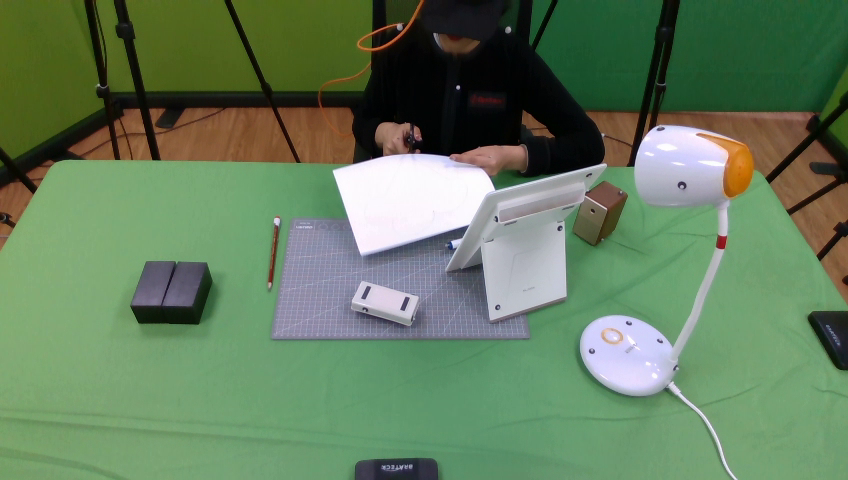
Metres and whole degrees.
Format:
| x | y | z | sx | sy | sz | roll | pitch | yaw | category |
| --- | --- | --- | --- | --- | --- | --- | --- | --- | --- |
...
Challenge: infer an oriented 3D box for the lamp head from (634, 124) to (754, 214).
| x | y | z | sx | sy | sz | roll | pitch | yaw | category |
| --- | --- | --- | --- | --- | --- | --- | --- | --- | --- |
| 0.351 | -0.089 | 0.775 | 0.112 | 0.113 | 0.122 | -30 | 30 | -28 | lamp head |

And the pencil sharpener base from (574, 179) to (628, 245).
| x | y | z | sx | sy | sz | roll | pitch | yaw | category |
| --- | --- | --- | --- | --- | --- | --- | --- | --- | --- |
| 0.355 | -0.057 | 1.217 | 0.076 | 0.107 | 0.061 | -33 | 56 | -31 | pencil sharpener base |

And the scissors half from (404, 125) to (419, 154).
| x | y | z | sx | sy | sz | roll | pitch | yaw | category |
| --- | --- | --- | --- | --- | --- | --- | --- | --- | --- |
| -0.030 | -0.216 | 1.320 | 0.013 | 0.040 | 0.174 | 1 | 27 | 8 | scissors half |

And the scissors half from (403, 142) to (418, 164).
| x | y | z | sx | sy | sz | roll | pitch | yaw | category |
| --- | --- | --- | --- | --- | --- | --- | --- | --- | --- |
| -0.031 | -0.194 | 1.325 | 0.013 | 0.175 | 0.040 | 6 | 89 | 7 | scissors half |

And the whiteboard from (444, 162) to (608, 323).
| x | y | z | sx | sy | sz | roll | pitch | yaw | category |
| --- | --- | --- | --- | --- | --- | --- | --- | --- | --- |
| 0.186 | 0.025 | 1.029 | 0.217 | 0.306 | 0.143 | -14 | 68 | -18 | whiteboard |

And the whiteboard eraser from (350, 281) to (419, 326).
| x | y | z | sx | sy | sz | roll | pitch | yaw | category |
| --- | --- | --- | --- | --- | --- | --- | --- | --- | --- |
| -0.069 | 0.113 | 1.065 | 0.112 | 0.042 | 0.055 | 14 | 46 | 9 | whiteboard eraser |

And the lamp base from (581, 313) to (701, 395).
| x | y | z | sx | sy | sz | roll | pitch | yaw | category |
| --- | --- | --- | --- | --- | --- | --- | --- | --- | --- |
| 0.361 | 0.144 | 0.973 | 0.178 | 0.181 | 0.160 | 34 | 53 | 23 | lamp base |

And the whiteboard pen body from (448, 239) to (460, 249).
| x | y | z | sx | sy | sz | roll | pitch | yaw | category |
| --- | --- | --- | --- | --- | --- | --- | --- | --- | --- |
| 0.113 | -0.005 | 1.203 | 0.141 | 0.017 | 0.017 | -14 | 49 | -17 | whiteboard pen body |

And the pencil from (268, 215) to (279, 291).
| x | y | z | sx | sy | sz | roll | pitch | yaw | category |
| --- | --- | --- | --- | --- | --- | --- | --- | --- | --- |
| -0.290 | 0.022 | 1.164 | 0.012 | 0.012 | 0.192 | -2 | 48 | -6 | pencil |

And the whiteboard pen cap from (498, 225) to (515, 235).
| x | y | z | sx | sy | sz | roll | pitch | yaw | category |
| --- | --- | --- | --- | --- | --- | --- | --- | --- | --- |
| 0.166 | -0.019 | 1.223 | 0.033 | 0.018 | 0.018 | -13 | 49 | -19 | whiteboard pen cap |

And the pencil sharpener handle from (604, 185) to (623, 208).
| x | y | z | sx | sy | sz | roll | pitch | yaw | category |
| --- | --- | --- | --- | --- | --- | --- | --- | --- | --- |
| 0.390 | -0.092 | 1.235 | 0.030 | 0.068 | 0.036 | -33 | 70 | -31 | pencil sharpener handle |
